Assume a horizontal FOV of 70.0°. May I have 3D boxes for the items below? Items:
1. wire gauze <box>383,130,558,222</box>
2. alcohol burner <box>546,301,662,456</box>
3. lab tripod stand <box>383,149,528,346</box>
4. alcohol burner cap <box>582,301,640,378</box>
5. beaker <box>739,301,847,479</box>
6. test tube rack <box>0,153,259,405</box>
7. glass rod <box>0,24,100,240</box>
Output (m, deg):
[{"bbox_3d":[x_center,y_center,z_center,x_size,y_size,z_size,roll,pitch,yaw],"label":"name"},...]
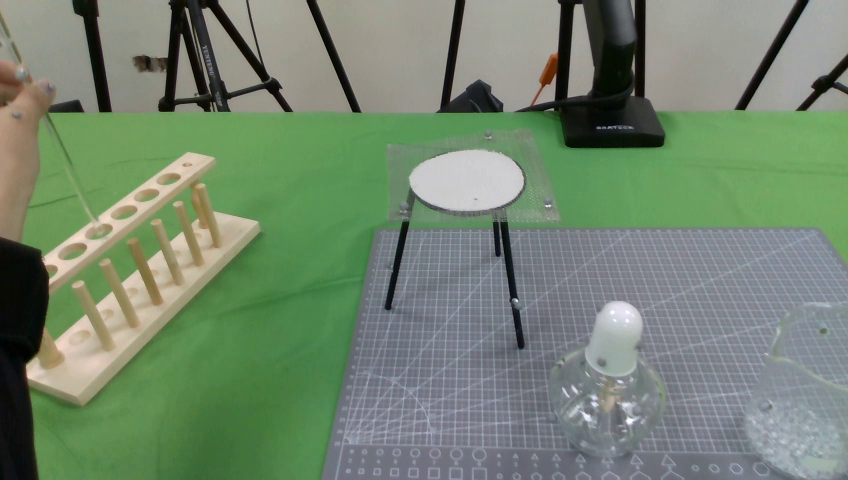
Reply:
[{"bbox_3d":[0.030,-0.049,0.462,0.125,0.011,0.120,-4,38,0],"label":"wire gauze"},{"bbox_3d":[0.122,0.088,0.405,0.078,0.120,0.077,-2,36,2],"label":"alcohol burner"},{"bbox_3d":[0.033,0.003,0.503,0.148,0.133,0.147,-2,40,2],"label":"lab tripod stand"},{"bbox_3d":[0.120,0.061,0.383,0.034,0.048,0.033,0,36,0],"label":"alcohol burner cap"},{"bbox_3d":[0.251,0.101,0.392,0.084,0.101,0.073,-2,38,2],"label":"beaker"},{"bbox_3d":[-0.254,0.021,0.544,0.066,0.086,0.241,13,41,19],"label":"test tube rack"},{"bbox_3d":[-0.269,-0.072,0.433,0.008,0.201,0.008,2,44,-1],"label":"glass rod"}]
